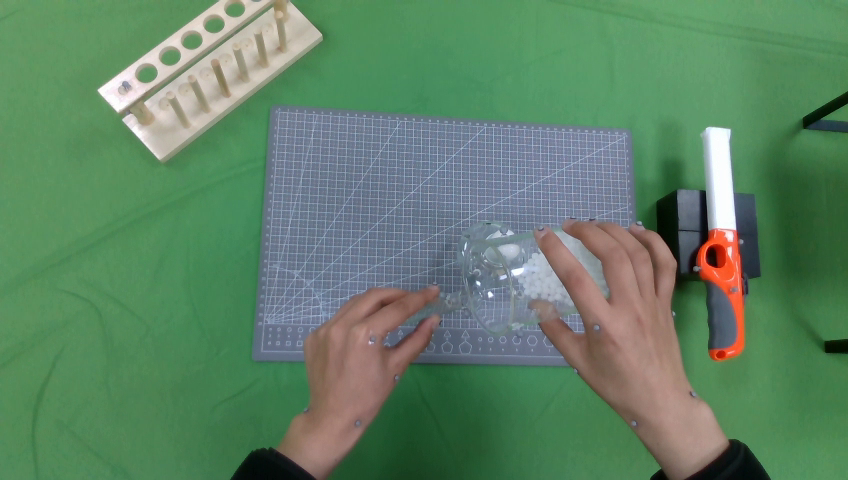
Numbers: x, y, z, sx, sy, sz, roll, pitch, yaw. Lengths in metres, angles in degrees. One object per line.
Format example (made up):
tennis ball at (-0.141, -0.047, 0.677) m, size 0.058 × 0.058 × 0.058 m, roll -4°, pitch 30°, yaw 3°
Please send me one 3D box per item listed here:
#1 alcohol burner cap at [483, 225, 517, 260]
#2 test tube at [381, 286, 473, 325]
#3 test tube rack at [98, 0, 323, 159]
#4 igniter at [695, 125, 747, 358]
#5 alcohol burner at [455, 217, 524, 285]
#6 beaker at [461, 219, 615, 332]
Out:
alcohol burner cap at (0.081, 0.001, 0.627) m, size 0.034 × 0.048 × 0.033 m, roll 1°, pitch 80°, yaw -3°
test tube at (-0.002, 0.061, 0.549) m, size 0.017 × 0.150 × 0.017 m, roll 8°, pitch 73°, yaw -28°
test tube rack at (-0.228, -0.204, 0.680) m, size 0.242 × 0.085 × 0.066 m, roll -43°, pitch 86°, yaw -14°
igniter at (0.340, -0.002, 0.699) m, size 0.057 × 0.025 × 0.275 m, roll 5°, pitch 76°, yaw -4°
alcohol burner at (0.076, 0.008, 0.662) m, size 0.078 × 0.119 × 0.077 m, roll 2°, pitch 76°, yaw -8°
beaker at (0.088, 0.025, 0.471) m, size 0.100 × 0.084 × 0.073 m, roll -10°, pitch 77°, yaw -22°
